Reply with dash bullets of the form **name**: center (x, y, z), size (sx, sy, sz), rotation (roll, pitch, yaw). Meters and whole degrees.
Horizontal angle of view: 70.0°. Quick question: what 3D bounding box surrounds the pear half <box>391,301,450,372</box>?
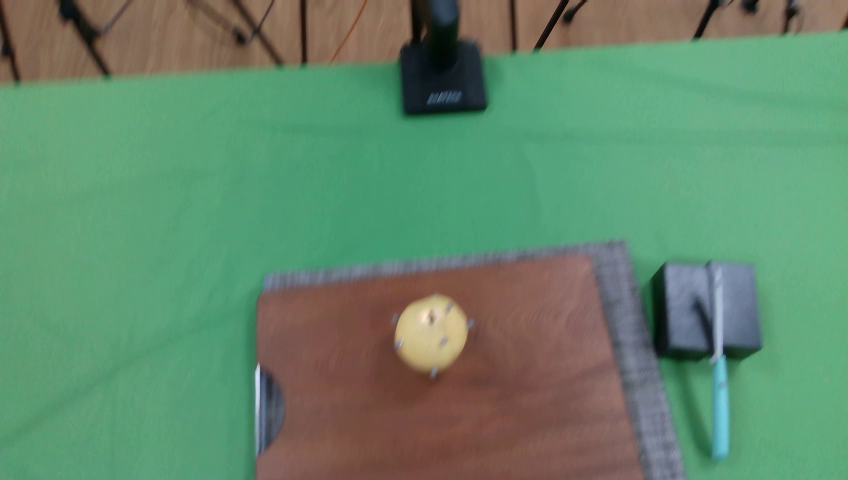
- **pear half**: center (-0.008, 0.101, 0.638), size (0.056, 0.111, 0.075), rotation (-26, 64, -11)

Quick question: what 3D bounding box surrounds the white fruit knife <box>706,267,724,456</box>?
- **white fruit knife**: center (0.314, 0.133, 0.661), size (0.016, 0.027, 0.207), rotation (-1, 86, 8)

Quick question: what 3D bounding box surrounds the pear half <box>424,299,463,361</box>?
- **pear half**: center (0.024, 0.091, 0.654), size (0.031, 0.089, 0.070), rotation (-27, 63, -11)
